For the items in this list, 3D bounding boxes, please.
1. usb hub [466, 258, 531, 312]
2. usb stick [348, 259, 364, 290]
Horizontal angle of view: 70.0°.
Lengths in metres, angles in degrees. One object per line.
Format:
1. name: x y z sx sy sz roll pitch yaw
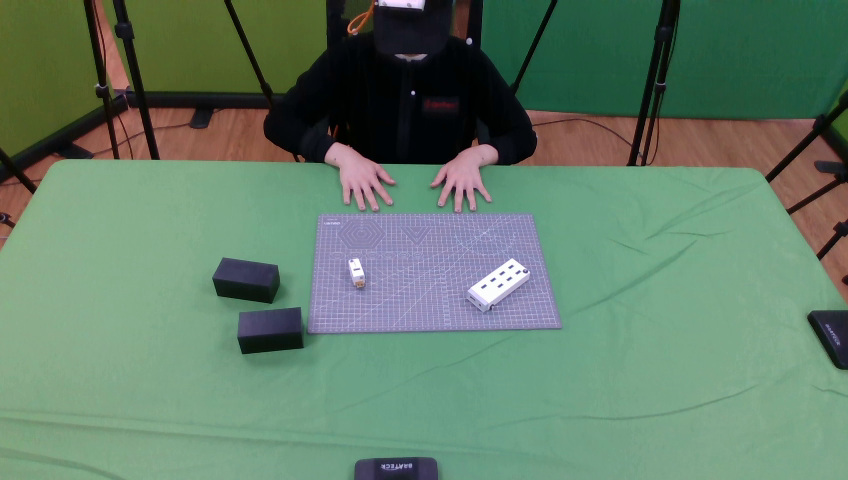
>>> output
1. usb hub: 0.139 0.083 1.121 0.125 0.025 0.049 -32 56 -29
2. usb stick: -0.124 0.064 1.120 0.021 0.027 0.059 -9 50 -17
